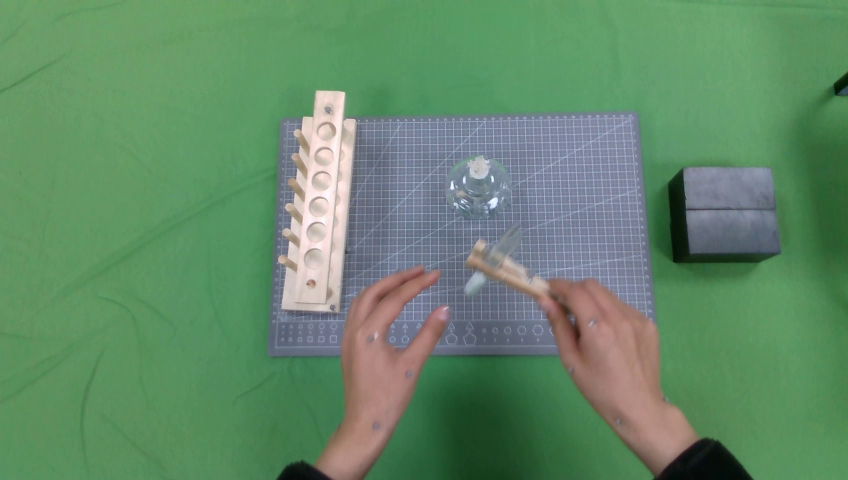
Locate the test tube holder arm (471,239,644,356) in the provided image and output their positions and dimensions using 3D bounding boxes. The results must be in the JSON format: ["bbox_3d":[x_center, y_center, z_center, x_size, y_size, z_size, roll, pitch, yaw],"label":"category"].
[{"bbox_3d":[0.120,0.052,0.544,0.178,0.015,0.013,32,71,1],"label":"test tube holder arm"}]

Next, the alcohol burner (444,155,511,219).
[{"bbox_3d":[0.060,-0.065,0.684,0.078,0.119,0.077,-1,78,3],"label":"alcohol burner"}]

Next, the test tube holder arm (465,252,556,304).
[{"bbox_3d":[0.078,0.035,0.543,0.088,0.015,0.010,25,71,-1],"label":"test tube holder arm"}]

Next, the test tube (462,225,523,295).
[{"bbox_3d":[0.058,0.023,0.550,0.017,0.151,0.017,4,67,-10],"label":"test tube"}]

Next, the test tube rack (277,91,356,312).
[{"bbox_3d":[-0.128,-0.043,0.700,0.067,0.085,0.241,3,77,3],"label":"test tube rack"}]
